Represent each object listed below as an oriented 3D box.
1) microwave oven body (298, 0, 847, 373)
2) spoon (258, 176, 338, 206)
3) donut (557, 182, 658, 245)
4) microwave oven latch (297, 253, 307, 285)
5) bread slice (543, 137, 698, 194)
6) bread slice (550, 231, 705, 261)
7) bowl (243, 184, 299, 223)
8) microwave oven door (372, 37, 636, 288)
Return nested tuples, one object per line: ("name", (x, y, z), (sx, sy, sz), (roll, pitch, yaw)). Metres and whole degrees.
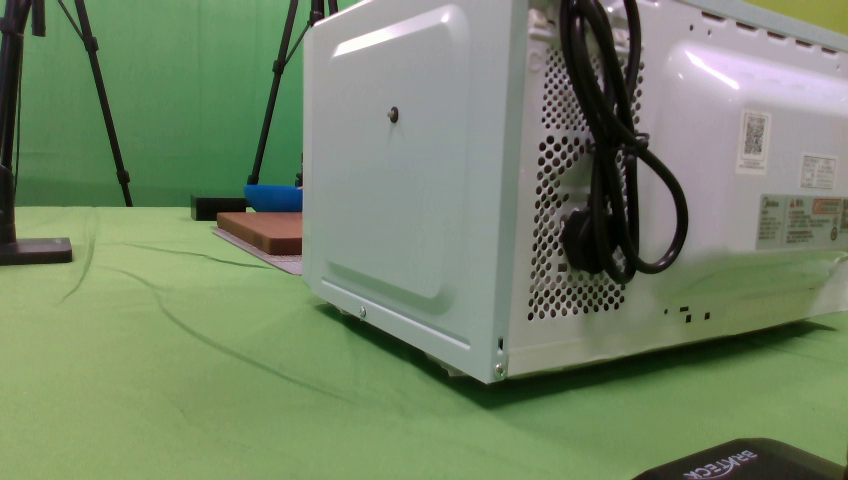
("microwave oven body", (0.151, -0.055, 0.543), (0.444, 0.260, 0.324), (-1, 7, -33))
("spoon", (-0.279, -0.112, 1.356), (0.194, 0.021, 0.041), (-28, 18, -27))
("donut", (0.184, -0.028, 0.610), (0.099, 0.048, 0.099), (12, -11, 3))
("microwave oven latch", (-0.082, 0.027, 0.583), (0.079, 0.029, 0.030), (-1, 8, -33))
("bread slice", (0.200, -0.074, 0.603), (0.107, 0.018, 0.133), (-1, 21, -46))
("bread slice", (0.202, 0.006, 0.586), (0.105, 0.019, 0.131), (7, -5, -22))
("bowl", (-0.321, -0.081, 1.334), (0.151, 0.077, 0.151), (3, 8, 0))
("microwave oven door", (0.110, -0.080, 0.686), (0.358, 0.243, 0.039), (-2, 9, -33))
